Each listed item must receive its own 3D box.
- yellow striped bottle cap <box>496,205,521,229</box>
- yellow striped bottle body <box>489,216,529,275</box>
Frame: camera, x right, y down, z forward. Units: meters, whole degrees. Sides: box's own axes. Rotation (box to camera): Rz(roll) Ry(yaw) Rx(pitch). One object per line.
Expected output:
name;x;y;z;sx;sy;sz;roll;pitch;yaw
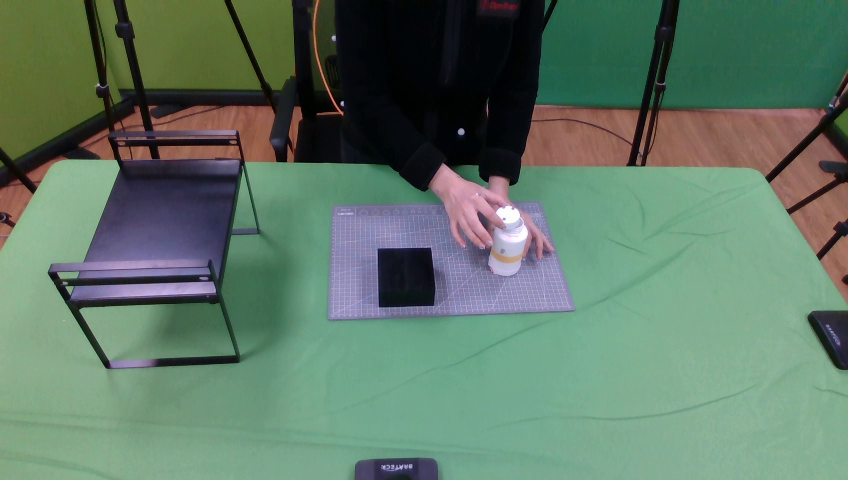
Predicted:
yellow striped bottle cap;0.151;-0.041;1.076;0.044;0.019;0.044;-3;47;4
yellow striped bottle body;0.159;0.005;1.130;0.063;0.121;0.062;2;46;-2
